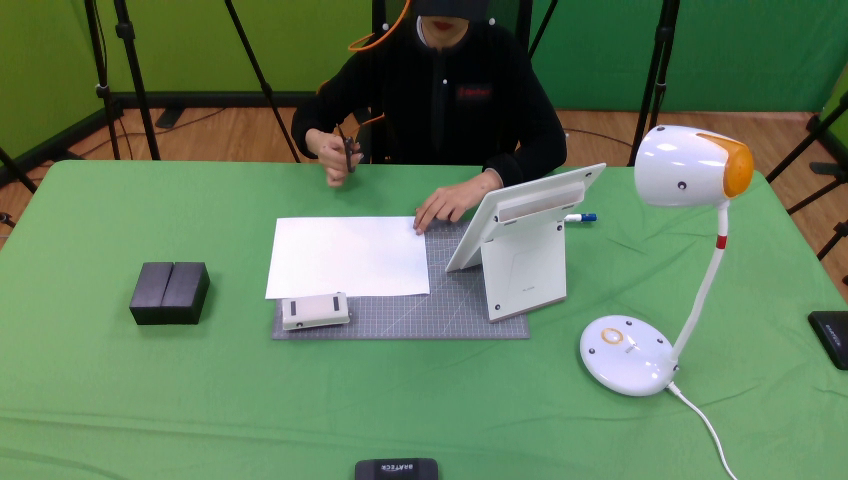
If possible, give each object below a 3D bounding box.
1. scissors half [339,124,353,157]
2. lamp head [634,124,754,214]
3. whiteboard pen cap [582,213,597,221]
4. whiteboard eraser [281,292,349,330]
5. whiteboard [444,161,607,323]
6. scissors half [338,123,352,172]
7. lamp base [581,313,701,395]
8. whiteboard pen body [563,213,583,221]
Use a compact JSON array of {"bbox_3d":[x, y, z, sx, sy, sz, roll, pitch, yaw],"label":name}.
[{"bbox_3d":[-0.156,-0.200,1.195,0.013,0.175,0.040,1,84,0],"label":"scissors half"},{"bbox_3d":[0.351,-0.089,0.775,0.112,0.113,0.122,-30,30,-28],"label":"lamp head"},{"bbox_3d":[0.342,-0.048,1.260,0.033,0.018,0.018,-3,46,-3],"label":"whiteboard pen cap"},{"bbox_3d":[-0.189,0.124,1.045,0.113,0.042,0.055,-6,46,-10],"label":"whiteboard eraser"},{"bbox_3d":[0.186,0.025,1.029,0.217,0.306,0.143,-14,68,-18],"label":"whiteboard"},{"bbox_3d":[-0.155,-0.181,1.191,0.013,0.176,0.040,-4,68,-1],"label":"scissors half"},{"bbox_3d":[0.361,0.144,0.973,0.178,0.181,0.160,34,53,23],"label":"lamp base"},{"bbox_3d":[0.283,-0.047,1.257,0.141,0.017,0.017,-1,46,-2],"label":"whiteboard pen body"}]
